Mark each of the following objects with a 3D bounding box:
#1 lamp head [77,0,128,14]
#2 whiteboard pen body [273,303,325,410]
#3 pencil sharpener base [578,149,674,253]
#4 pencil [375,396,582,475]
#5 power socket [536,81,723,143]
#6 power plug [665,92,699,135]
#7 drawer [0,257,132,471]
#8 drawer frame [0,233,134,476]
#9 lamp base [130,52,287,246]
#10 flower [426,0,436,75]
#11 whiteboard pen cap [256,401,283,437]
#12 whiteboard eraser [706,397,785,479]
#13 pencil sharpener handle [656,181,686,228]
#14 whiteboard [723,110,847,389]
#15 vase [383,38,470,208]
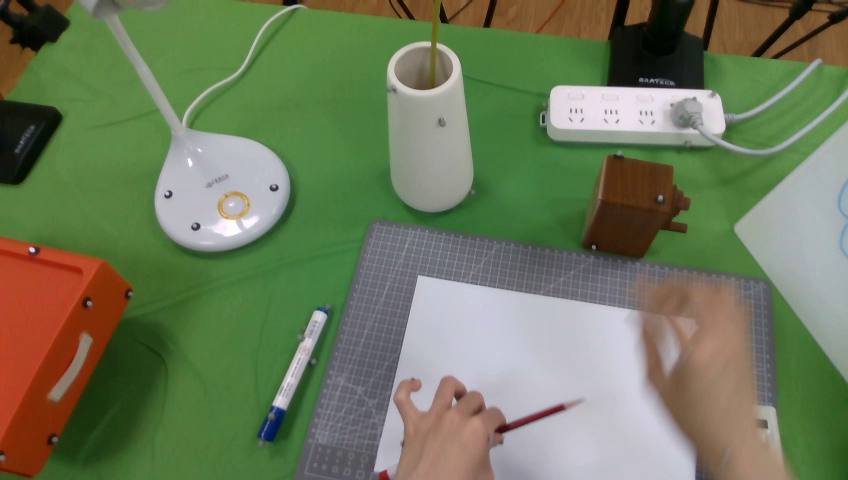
[{"bbox_3d":[-0.227,-0.233,0.406,0.123,0.112,0.112,47,69,-17],"label":"lamp head"},{"bbox_3d":[-0.133,0.128,0.626,0.017,0.017,0.140,13,60,10],"label":"whiteboard pen body"},{"bbox_3d":[0.215,-0.039,0.651,0.076,0.108,0.061,11,62,9],"label":"pencil sharpener base"},{"bbox_3d":[0.047,0.171,0.534,0.194,0.012,0.012,-21,62,4],"label":"pencil"},{"bbox_3d":[0.255,-0.160,0.756,0.226,0.033,0.071,4,63,4],"label":"power socket"},{"bbox_3d":[0.302,-0.143,0.718,0.035,0.053,0.072,13,65,10],"label":"power plug"},{"bbox_3d":[-0.425,0.093,0.576,0.211,0.074,0.193,11,64,9],"label":"drawer"},{"bbox_3d":[-0.431,0.094,0.578,0.213,0.083,0.200,12,64,7],"label":"drawer frame"},{"bbox_3d":[-0.259,-0.107,0.669,0.160,0.182,0.177,-41,65,-18],"label":"lamp base"},{"bbox_3d":[0.006,-0.173,0.587,0.038,0.365,0.043,-2,43,-6],"label":"flower"},{"bbox_3d":[-0.151,0.176,0.597,0.018,0.018,0.033,13,58,10],"label":"whiteboard pen cap"},{"bbox_3d":[0.293,0.202,0.553,0.055,0.042,0.112,4,62,3],"label":"whiteboard eraser"},{"bbox_3d":[0.264,-0.035,0.633,0.030,0.068,0.035,11,62,9],"label":"pencil sharpener handle"},{"bbox_3d":[0.484,-0.031,0.556,0.144,0.307,0.215,-11,59,-24],"label":"whiteboard"},{"bbox_3d":[0.000,-0.119,0.652,0.098,0.201,0.097,-2,61,4],"label":"vase"}]
